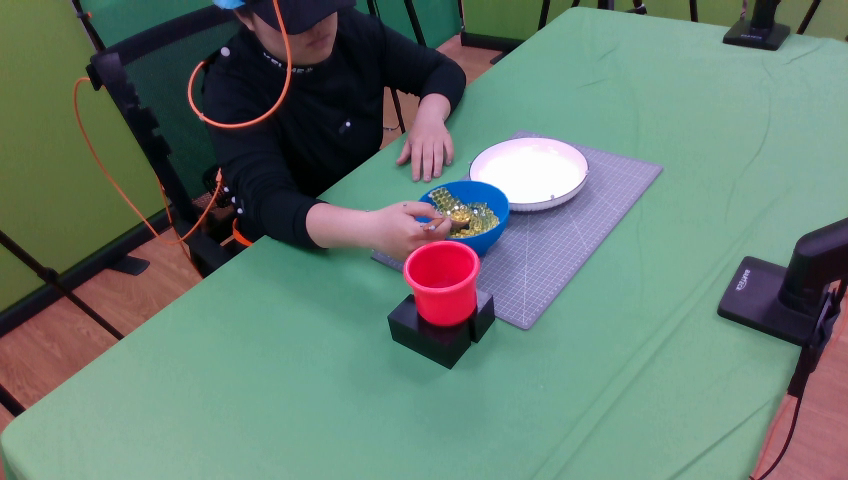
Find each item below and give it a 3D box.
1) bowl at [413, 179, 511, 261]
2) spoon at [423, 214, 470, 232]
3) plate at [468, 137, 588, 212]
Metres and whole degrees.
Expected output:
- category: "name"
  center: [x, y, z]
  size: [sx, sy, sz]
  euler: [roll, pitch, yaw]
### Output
- category: "bowl"
  center: [0.062, -0.021, 0.947]
  size: [0.151, 0.077, 0.150]
  euler: [-5, 40, 5]
- category: "spoon"
  center: [0.029, -0.026, 0.887]
  size: [0.041, 0.021, 0.194]
  euler: [2, 4, 18]
- category: "plate"
  center: [0.182, -0.112, 1.064]
  size: [0.207, 0.039, 0.206]
  euler: [-5, 40, 5]
